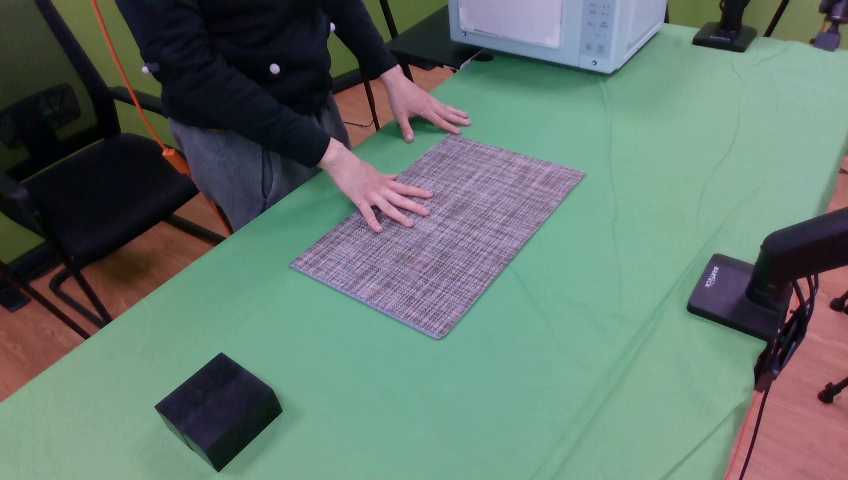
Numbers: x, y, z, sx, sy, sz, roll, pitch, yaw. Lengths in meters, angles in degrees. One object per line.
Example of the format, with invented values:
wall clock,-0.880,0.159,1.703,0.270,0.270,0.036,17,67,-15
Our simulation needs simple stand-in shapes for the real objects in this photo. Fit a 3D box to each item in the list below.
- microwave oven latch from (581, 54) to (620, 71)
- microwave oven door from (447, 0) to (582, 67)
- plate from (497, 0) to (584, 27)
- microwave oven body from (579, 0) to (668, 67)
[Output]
microwave oven latch,0.386,-0.393,1.330,0.078,0.029,0.030,25,51,32
microwave oven door,0.203,-0.544,1.372,0.353,0.245,0.039,23,49,29
plate,0.286,-0.572,1.488,0.209,0.038,0.208,-5,42,5
microwave oven body,0.325,-0.609,1.437,0.438,0.261,0.327,23,49,30
